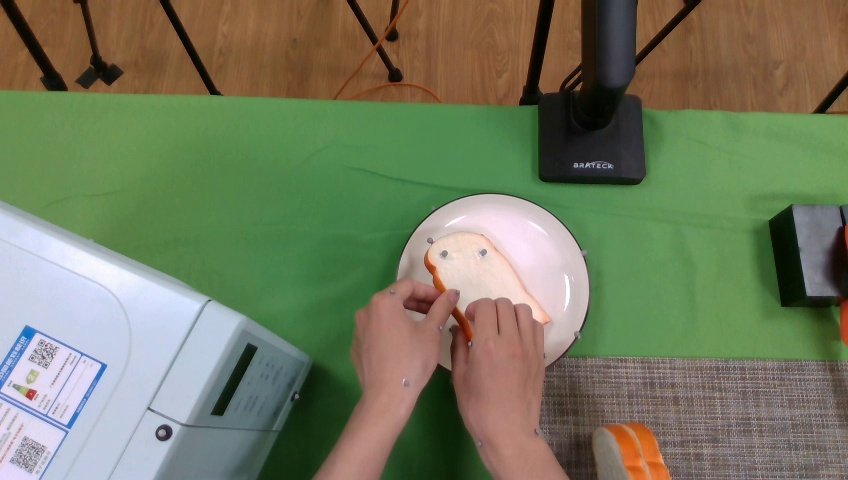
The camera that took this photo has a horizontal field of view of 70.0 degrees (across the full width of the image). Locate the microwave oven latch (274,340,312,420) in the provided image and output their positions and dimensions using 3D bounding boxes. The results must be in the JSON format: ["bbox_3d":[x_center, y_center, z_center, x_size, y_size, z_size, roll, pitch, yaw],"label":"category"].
[{"bbox_3d":[-0.141,0.139,0.612,0.030,0.029,0.079,24,76,8],"label":"microwave oven latch"}]

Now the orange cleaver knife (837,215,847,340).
[{"bbox_3d":[0.441,0.080,0.611,0.012,0.077,0.211,-3,94,3],"label":"orange cleaver knife"}]

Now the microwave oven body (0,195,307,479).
[{"bbox_3d":[-0.351,0.211,0.494,0.325,0.261,0.440,22,75,8],"label":"microwave oven body"}]

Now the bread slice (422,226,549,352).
[{"bbox_3d":[0.056,0.045,0.629,0.107,0.018,0.133,-23,71,-43],"label":"bread slice"}]

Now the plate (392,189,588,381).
[{"bbox_3d":[0.070,0.048,0.654,0.208,0.039,0.206,0,73,1],"label":"plate"}]

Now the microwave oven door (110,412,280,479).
[{"bbox_3d":[-0.234,0.300,0.459,0.039,0.245,0.354,22,75,9],"label":"microwave oven door"}]
